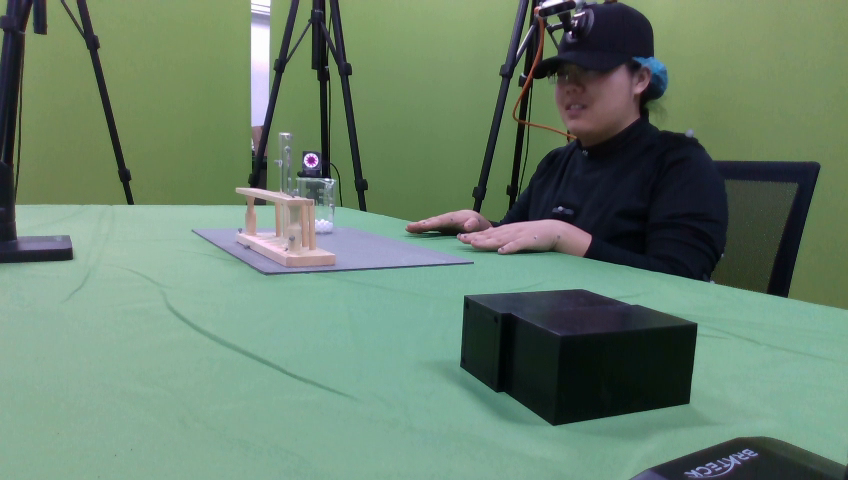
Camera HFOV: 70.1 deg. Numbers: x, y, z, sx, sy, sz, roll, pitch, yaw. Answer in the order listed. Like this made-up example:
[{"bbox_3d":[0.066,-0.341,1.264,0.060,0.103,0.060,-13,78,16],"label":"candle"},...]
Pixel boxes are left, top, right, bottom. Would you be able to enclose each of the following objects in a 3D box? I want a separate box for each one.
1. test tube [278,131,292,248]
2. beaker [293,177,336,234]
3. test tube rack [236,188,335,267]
[{"bbox_3d":[-0.178,-0.063,0.776,0.017,0.150,0.017,2,11,0],"label":"test tube"},{"bbox_3d":[-0.197,-0.063,1.107,0.083,0.100,0.074,10,11,40],"label":"beaker"},{"bbox_3d":[-0.202,-0.025,0.855,0.067,0.085,0.241,-2,9,-31],"label":"test tube rack"}]
